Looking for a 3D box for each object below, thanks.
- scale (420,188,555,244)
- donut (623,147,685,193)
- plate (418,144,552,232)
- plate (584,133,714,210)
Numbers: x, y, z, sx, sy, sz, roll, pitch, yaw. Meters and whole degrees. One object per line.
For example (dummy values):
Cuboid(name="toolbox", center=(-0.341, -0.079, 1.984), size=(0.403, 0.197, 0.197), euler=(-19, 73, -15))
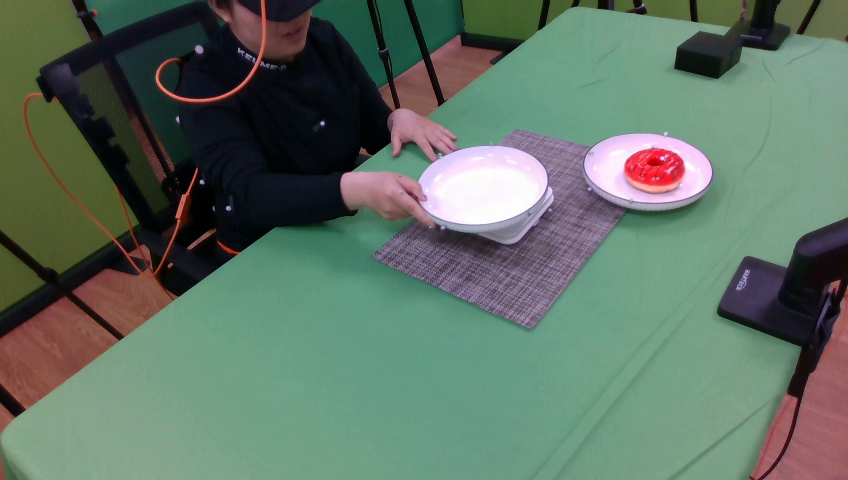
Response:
Cuboid(name="scale", center=(0.106, -0.065, 1.029), size=(0.199, 0.032, 0.149), euler=(21, 48, 32))
Cuboid(name="donut", center=(0.388, -0.119, 1.019), size=(0.099, 0.048, 0.098), euler=(-4, 42, 4))
Cuboid(name="plate", center=(0.096, -0.078, 0.949), size=(0.207, 0.039, 0.206), euler=(-6, 41, 6))
Cuboid(name="plate", center=(0.379, -0.113, 1.030), size=(0.209, 0.038, 0.208), euler=(-4, 41, 4))
